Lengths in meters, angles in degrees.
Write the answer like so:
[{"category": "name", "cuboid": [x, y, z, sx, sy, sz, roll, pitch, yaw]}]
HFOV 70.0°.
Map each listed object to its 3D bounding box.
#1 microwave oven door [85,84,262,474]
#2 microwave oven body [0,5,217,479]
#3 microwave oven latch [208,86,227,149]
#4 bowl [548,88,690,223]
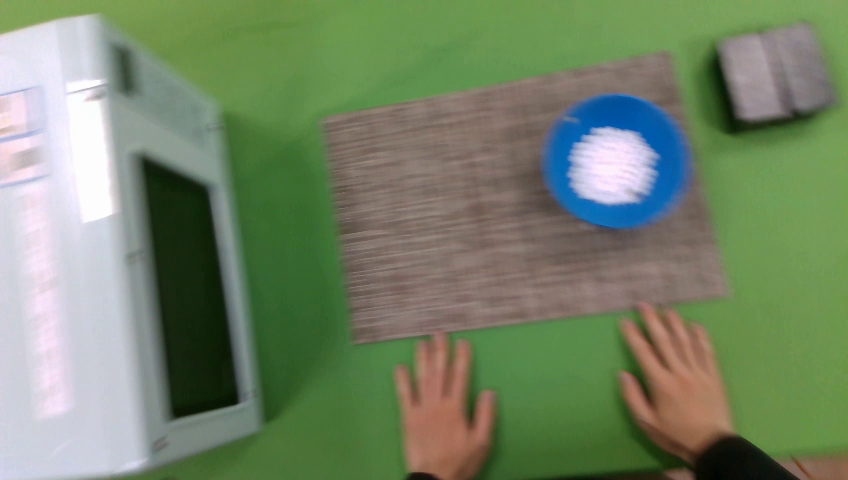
[{"category": "microwave oven door", "cuboid": [-0.261, 0.043, 0.654, 0.039, 0.245, 0.354, -11, 81, 8]}, {"category": "microwave oven body", "cuboid": [-0.409, 0.029, 0.683, 0.326, 0.261, 0.440, -10, 82, 7]}, {"category": "microwave oven latch", "cuboid": [-0.277, -0.156, 0.786, 0.030, 0.029, 0.079, -10, 82, 7]}, {"category": "bowl", "cuboid": [0.217, -0.088, 0.696, 0.151, 0.077, 0.151, -1, 83, 9]}]
